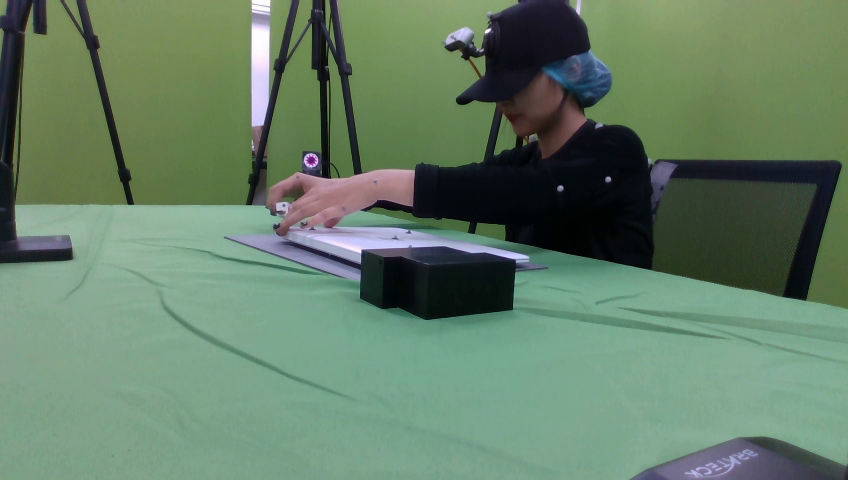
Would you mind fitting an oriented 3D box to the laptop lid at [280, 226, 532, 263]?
[{"bbox_3d":[-0.043,0.001,0.895,0.243,0.013,0.355,0,7,-33],"label":"laptop lid"}]

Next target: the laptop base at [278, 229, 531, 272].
[{"bbox_3d":[-0.045,0.013,0.895,0.237,0.023,0.352,1,6,-35],"label":"laptop base"}]

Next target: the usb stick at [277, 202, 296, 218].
[{"bbox_3d":[-0.255,-0.055,1.112,0.021,0.027,0.059,-6,0,7],"label":"usb stick"}]
